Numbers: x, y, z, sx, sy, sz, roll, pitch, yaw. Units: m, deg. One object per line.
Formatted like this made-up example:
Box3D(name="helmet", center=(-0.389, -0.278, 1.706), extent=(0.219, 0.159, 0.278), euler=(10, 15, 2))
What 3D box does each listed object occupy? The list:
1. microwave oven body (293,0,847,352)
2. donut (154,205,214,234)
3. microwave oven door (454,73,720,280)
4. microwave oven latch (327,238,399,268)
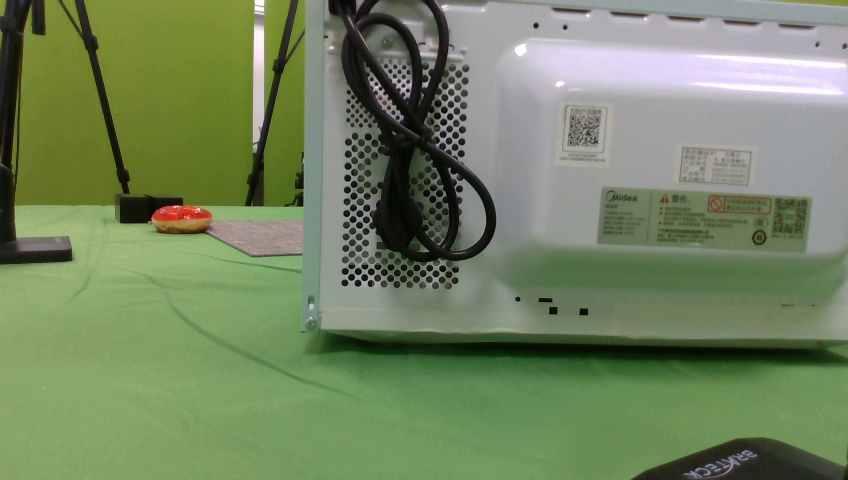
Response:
Box3D(name="microwave oven body", center=(0.122, -0.055, 0.550), extent=(0.442, 0.260, 0.325), euler=(3, 7, -5))
Box3D(name="donut", center=(-0.426, -0.037, 1.075), extent=(0.099, 0.048, 0.099), euler=(2, 12, 0))
Box3D(name="microwave oven door", center=(0.196, -0.091, 0.816), extent=(0.354, 0.243, 0.039), euler=(8, 9, 39))
Box3D(name="microwave oven latch", center=(-0.069, 0.015, 0.694), extent=(0.079, 0.029, 0.030), euler=(3, 7, -3))
